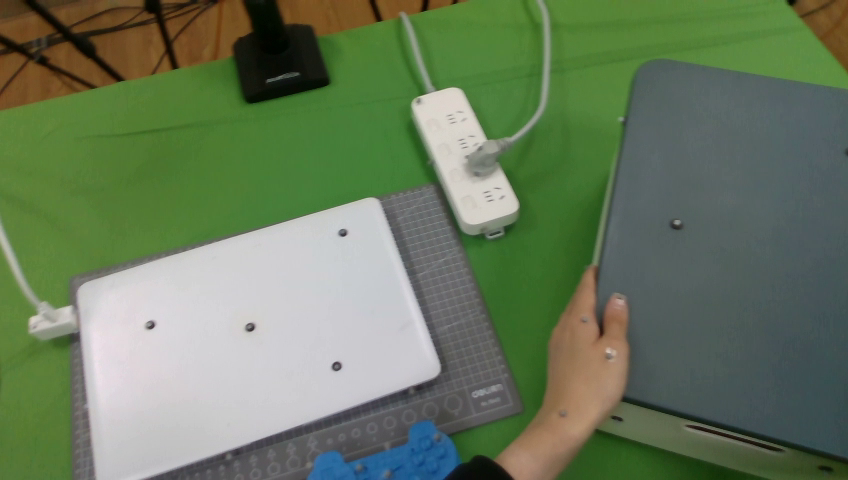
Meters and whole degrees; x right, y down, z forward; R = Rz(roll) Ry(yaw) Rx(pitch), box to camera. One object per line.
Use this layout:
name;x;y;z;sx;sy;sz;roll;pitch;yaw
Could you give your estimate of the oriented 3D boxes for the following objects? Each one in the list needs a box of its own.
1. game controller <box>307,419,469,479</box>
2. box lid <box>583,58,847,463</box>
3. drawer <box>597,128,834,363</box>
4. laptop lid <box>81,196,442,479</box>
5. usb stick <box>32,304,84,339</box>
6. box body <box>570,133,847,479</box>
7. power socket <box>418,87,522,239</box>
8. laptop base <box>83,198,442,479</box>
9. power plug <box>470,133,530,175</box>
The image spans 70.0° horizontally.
game controller;-0.035;0.230;0.565;0.155;0.052;0.096;-15;59;-6
box lid;0.299;-0.009;0.534;0.262;0.015;0.369;14;63;10
drawer;0.311;0.000;0.648;0.194;0.074;0.210;18;65;14
laptop lid;-0.181;0.094;0.649;0.357;0.013;0.239;-16;64;-6
usb stick;-0.390;0.087;0.660;0.059;0.027;0.021;-13;56;-9
box body;0.302;0.028;0.598;0.253;0.162;0.362;14;63;10
power socket;0.054;-0.102;0.754;0.072;0.033;0.224;-16;61;-8
laptop base;-0.182;0.098;0.661;0.355;0.023;0.233;-17;65;-8
power plug;0.091;-0.096;0.723;0.072;0.053;0.035;-6;60;-3
